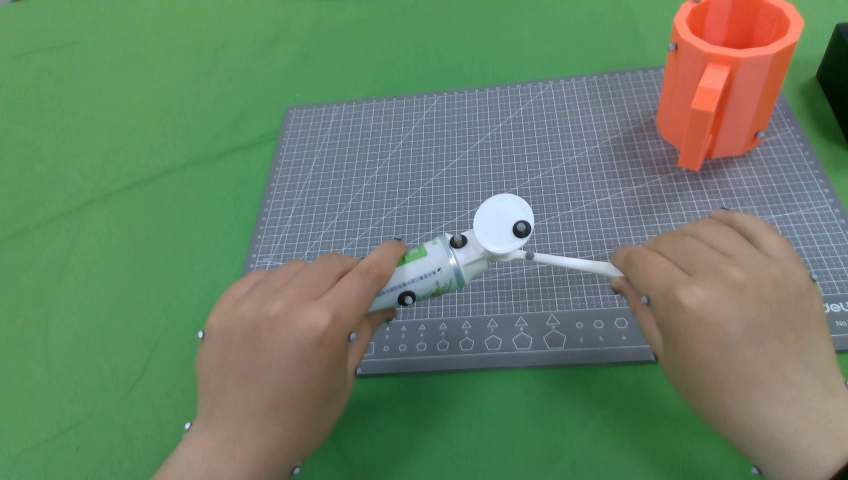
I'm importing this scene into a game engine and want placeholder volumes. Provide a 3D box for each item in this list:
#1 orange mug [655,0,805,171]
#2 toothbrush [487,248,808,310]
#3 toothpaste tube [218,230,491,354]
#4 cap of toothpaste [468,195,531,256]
[{"bbox_3d":[0.222,-0.116,0.459,0.083,0.102,0.125,19,53,25],"label":"orange mug"},{"bbox_3d":[0.116,0.017,0.346,0.181,0.017,0.014,10,70,21],"label":"toothbrush"},{"bbox_3d":[-0.036,0.033,0.356,0.165,0.055,0.034,-21,87,0],"label":"toothpaste tube"},{"bbox_3d":[0.043,-0.007,0.339,0.037,0.011,0.037,-8,70,22],"label":"cap of toothpaste"}]
